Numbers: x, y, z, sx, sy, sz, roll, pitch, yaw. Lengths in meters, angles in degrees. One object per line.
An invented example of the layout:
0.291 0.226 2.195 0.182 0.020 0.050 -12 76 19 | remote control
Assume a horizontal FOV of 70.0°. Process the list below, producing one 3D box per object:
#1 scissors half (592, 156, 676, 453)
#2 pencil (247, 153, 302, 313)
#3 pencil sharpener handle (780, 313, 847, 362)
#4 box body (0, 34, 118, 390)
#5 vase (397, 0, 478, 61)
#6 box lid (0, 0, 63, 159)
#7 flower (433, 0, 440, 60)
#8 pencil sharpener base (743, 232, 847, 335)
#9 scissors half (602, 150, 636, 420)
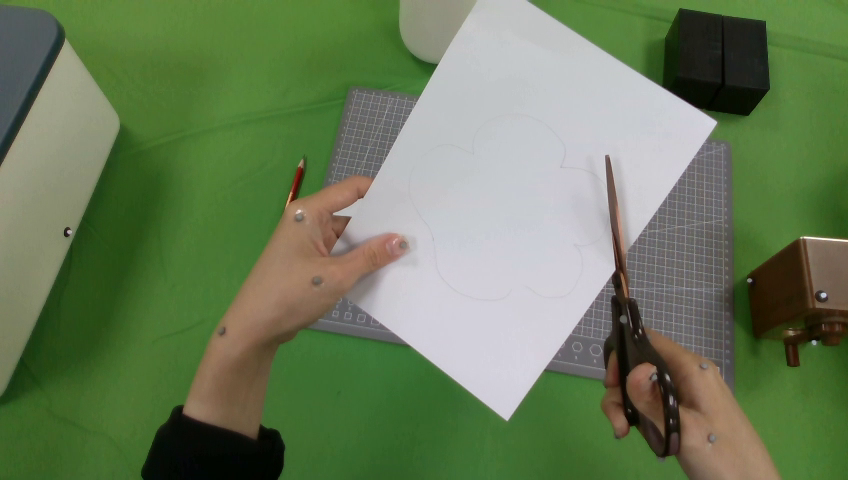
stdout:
0.118 0.032 0.350 0.013 0.040 0.174 -8 75 -5 | scissors half
-0.158 -0.014 0.655 0.012 0.012 0.193 10 66 5 | pencil
0.352 0.090 0.547 0.036 0.068 0.030 10 67 -11 | pencil sharpener handle
-0.493 -0.041 0.581 0.254 0.161 0.361 9 68 4 | box body
0.015 -0.293 0.666 0.098 0.201 0.097 0 66 1 | vase
-0.494 -0.072 0.512 0.263 0.015 0.369 10 68 3 | box lid
0.009 -0.338 0.595 0.044 0.365 0.038 2 50 5 | flower
0.360 0.048 0.577 0.061 0.108 0.076 5 68 2 | pencil sharpener base
0.118 0.032 0.374 0.013 0.040 0.176 -8 109 0 | scissors half
